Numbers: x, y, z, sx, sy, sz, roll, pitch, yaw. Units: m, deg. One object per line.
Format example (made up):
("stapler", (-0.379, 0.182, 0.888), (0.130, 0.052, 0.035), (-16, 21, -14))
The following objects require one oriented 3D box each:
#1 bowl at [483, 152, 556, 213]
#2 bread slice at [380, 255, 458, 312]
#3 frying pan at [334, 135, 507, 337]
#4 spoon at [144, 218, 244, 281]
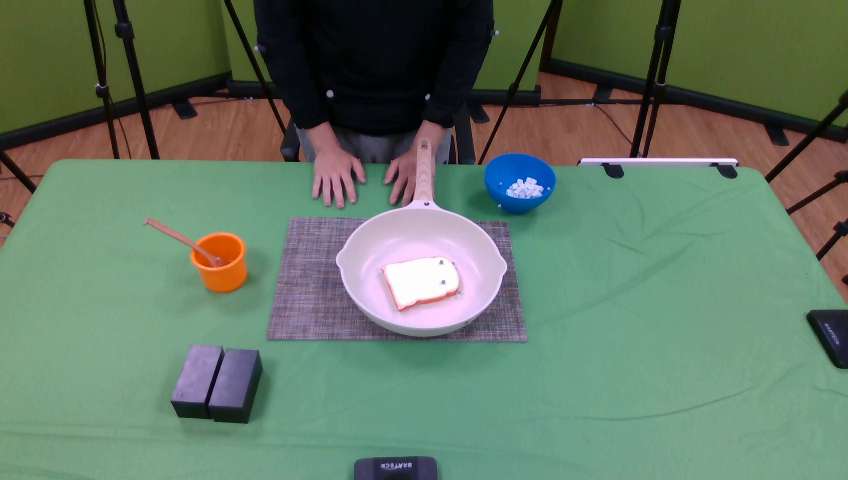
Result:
("bowl", (0.195, -0.110, 1.280), (0.151, 0.077, 0.150), (2, 46, -2))
("bread slice", (-0.005, 0.074, 1.119), (0.134, 0.018, 0.106), (-16, 50, -16))
("frying pan", (-0.004, -0.026, 1.160), (0.307, 0.103, 0.485), (4, 55, -2))
("spoon", (-0.401, 0.015, 1.064), (0.195, 0.021, 0.041), (41, 37, -29))
